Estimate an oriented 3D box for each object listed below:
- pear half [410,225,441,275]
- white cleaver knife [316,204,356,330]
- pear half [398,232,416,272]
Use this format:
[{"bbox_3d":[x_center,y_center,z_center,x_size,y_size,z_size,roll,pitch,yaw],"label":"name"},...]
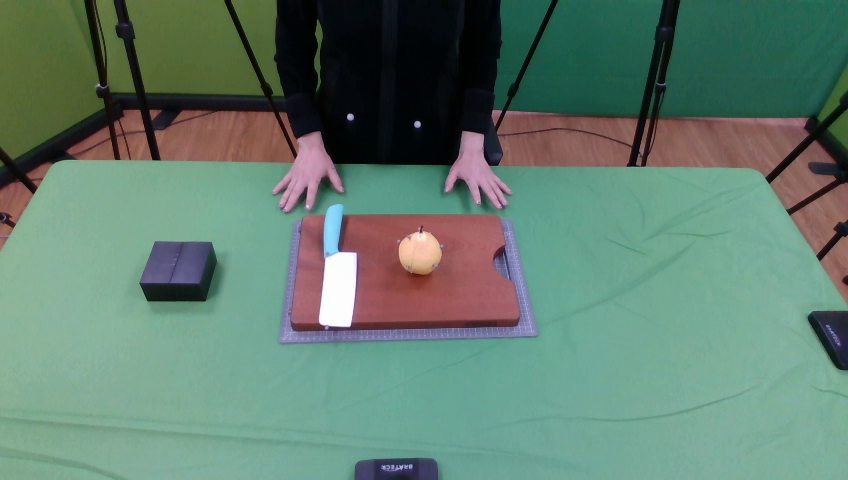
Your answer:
[{"bbox_3d":[0.004,0.013,1.085,0.056,0.110,0.076,1,51,-3],"label":"pear half"},{"bbox_3d":[-0.158,0.043,1.111,0.066,0.021,0.284,3,51,-9],"label":"white cleaver knife"},{"bbox_3d":[-0.031,0.017,1.092,0.031,0.088,0.070,1,51,-2],"label":"pear half"}]
